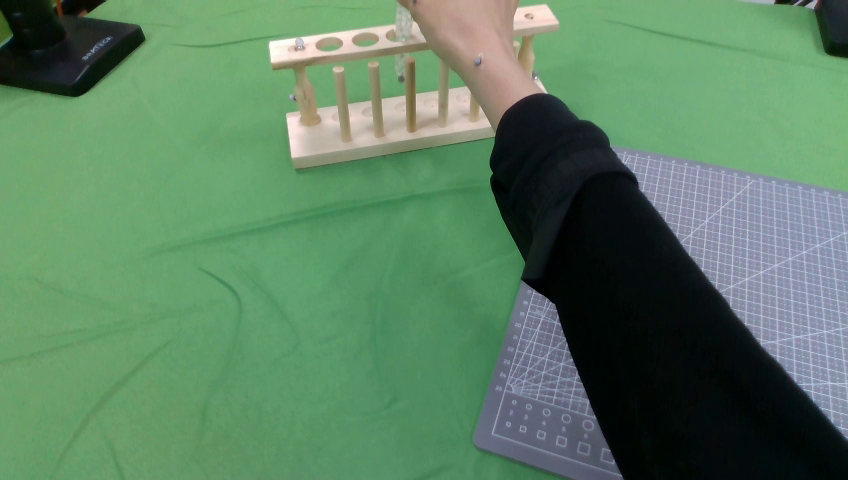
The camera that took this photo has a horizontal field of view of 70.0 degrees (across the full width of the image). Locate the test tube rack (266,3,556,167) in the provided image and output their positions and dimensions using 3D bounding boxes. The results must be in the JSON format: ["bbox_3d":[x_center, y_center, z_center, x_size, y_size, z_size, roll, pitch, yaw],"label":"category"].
[{"bbox_3d":[-0.006,-0.136,0.530,0.243,0.086,0.066,-11,49,-8],"label":"test tube rack"}]

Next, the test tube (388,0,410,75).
[{"bbox_3d":[-0.018,-0.193,0.477,0.017,0.151,0.017,3,53,-4],"label":"test tube"}]
